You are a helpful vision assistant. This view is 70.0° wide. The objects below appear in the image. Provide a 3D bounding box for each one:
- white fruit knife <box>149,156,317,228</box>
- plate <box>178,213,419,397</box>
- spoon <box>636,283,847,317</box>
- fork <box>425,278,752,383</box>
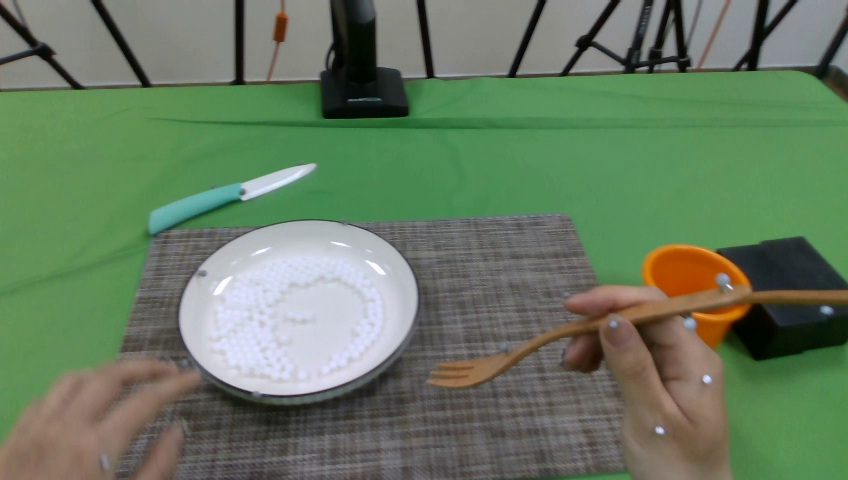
[{"bbox_3d":[-0.210,-0.061,0.686,0.208,0.016,0.027,-26,74,-32],"label":"white fruit knife"},{"bbox_3d":[-0.108,0.055,0.547,0.209,0.038,0.207,2,43,-2],"label":"plate"},{"bbox_3d":[0.263,0.047,0.508,0.041,0.193,0.022,-32,98,-33],"label":"spoon"},{"bbox_3d":[0.078,0.054,0.346,0.019,0.207,0.028,52,41,-12],"label":"fork"}]
